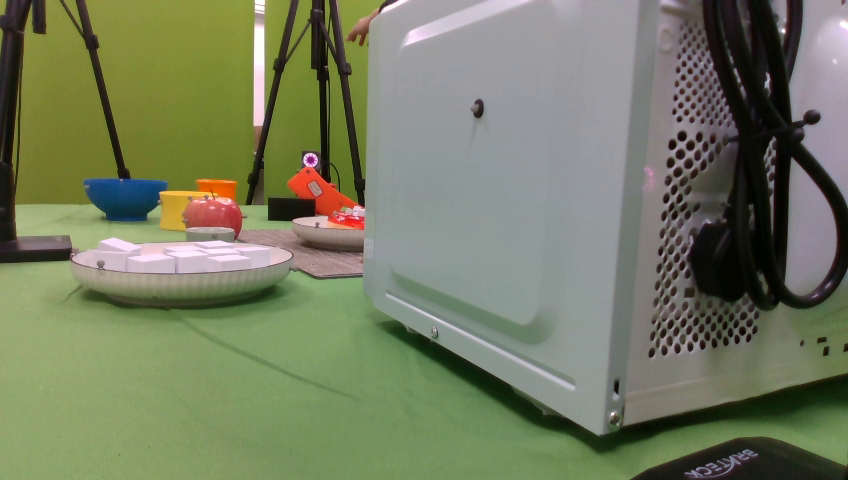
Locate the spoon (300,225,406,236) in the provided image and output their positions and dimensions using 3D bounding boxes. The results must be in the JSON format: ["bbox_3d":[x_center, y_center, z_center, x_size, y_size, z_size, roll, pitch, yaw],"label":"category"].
[{"bbox_3d":[-0.127,-0.018,1.104,0.194,0.021,0.041,0,9,-16],"label":"spoon"}]

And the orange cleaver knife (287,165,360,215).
[{"bbox_3d":[-0.211,-0.093,1.382,0.212,0.077,0.012,33,1,-15],"label":"orange cleaver knife"}]

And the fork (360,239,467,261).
[{"bbox_3d":[-0.008,0.014,0.871,0.028,0.018,0.208,-5,0,45],"label":"fork"}]

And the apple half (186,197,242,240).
[{"bbox_3d":[-0.306,-0.026,0.905,0.053,0.074,0.081,14,9,37],"label":"apple half"}]

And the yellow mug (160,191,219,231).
[{"bbox_3d":[-0.416,-0.053,1.103,0.130,0.064,0.100,7,8,27],"label":"yellow mug"}]

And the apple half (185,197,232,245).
[{"bbox_3d":[-0.337,-0.031,0.928,0.032,0.081,0.082,13,13,37],"label":"apple half"}]

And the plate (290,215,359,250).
[{"bbox_3d":[-0.110,-0.013,0.973,0.209,0.038,0.209,3,8,0],"label":"plate"}]

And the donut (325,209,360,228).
[{"bbox_3d":[-0.110,-0.024,0.973,0.099,0.048,0.099,5,7,0],"label":"donut"}]

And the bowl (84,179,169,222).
[{"bbox_3d":[-0.584,-0.078,1.194,0.151,0.077,0.151,3,8,0],"label":"bowl"}]

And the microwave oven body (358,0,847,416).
[{"bbox_3d":[0.211,-0.047,0.474,0.444,0.260,0.324,-1,8,-28],"label":"microwave oven body"}]

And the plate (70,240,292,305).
[{"bbox_3d":[-0.241,0.031,0.618,0.208,0.039,0.207,2,8,0],"label":"plate"}]

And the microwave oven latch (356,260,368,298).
[{"bbox_3d":[-0.019,0.033,0.530,0.079,0.029,0.030,0,7,-26],"label":"microwave oven latch"}]

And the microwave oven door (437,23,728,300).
[{"bbox_3d":[0.181,-0.072,0.621,0.358,0.243,0.039,-2,8,-29],"label":"microwave oven door"}]

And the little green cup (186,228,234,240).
[{"bbox_3d":[-0.284,0.005,0.805,0.061,0.038,0.061,2,8,0],"label":"little green cup"}]
